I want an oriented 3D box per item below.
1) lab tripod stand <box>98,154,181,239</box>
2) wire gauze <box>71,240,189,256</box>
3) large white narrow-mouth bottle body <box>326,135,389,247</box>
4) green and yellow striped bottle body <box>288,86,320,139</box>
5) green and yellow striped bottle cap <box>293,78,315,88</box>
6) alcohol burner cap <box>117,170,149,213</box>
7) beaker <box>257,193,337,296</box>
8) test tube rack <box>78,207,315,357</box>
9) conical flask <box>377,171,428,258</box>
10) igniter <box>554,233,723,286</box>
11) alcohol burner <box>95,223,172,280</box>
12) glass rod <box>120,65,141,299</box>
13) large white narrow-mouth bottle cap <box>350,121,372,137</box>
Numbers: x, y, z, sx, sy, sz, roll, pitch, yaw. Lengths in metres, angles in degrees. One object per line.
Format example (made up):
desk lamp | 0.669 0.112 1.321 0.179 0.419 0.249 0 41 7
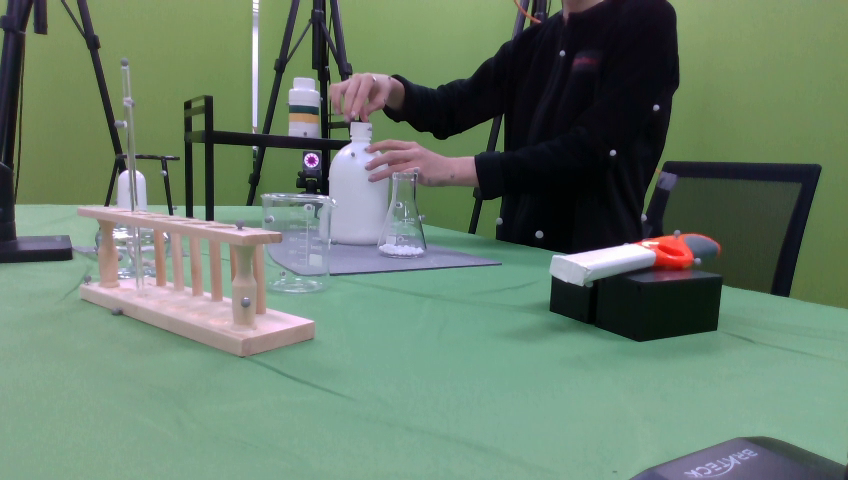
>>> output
lab tripod stand | -0.427 -0.066 0.942 0.148 0.131 0.148 1 6 0
wire gauze | -0.399 0.013 0.820 0.126 0.011 0.121 -3 8 -37
large white narrow-mouth bottle body | -0.107 -0.091 0.996 0.102 0.194 0.101 4 9 0
green and yellow striped bottle body | -0.250 -0.272 1.261 0.063 0.119 0.063 3 7 0
green and yellow striped bottle cap | -0.248 -0.323 1.256 0.045 0.020 0.045 4 8 0
alcohol burner cap | -0.320 -0.052 0.661 0.034 0.048 0.034 -3 0 0
beaker | -0.130 0.004 0.628 0.084 0.100 0.074 5 8 15
test tube rack | -0.197 0.023 0.500 0.241 0.085 0.067 8 9 37
conical flask | -0.029 -0.037 0.875 0.075 0.122 0.075 3 7 0
igniter | 0.214 0.015 0.570 0.278 0.025 0.057 -5 21 -44
alcohol burner | -0.320 -0.017 0.667 0.078 0.119 0.078 0 7 0
glass rod | -0.249 -0.047 0.513 0.008 0.199 0.008 -1 4 0
large white narrow-mouth bottle cap | -0.101 -0.180 0.980 0.038 0.024 0.037 4 9 0
